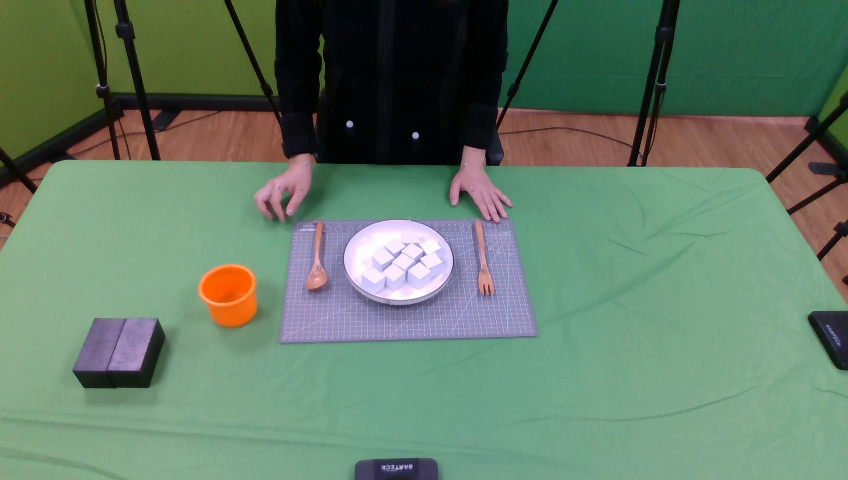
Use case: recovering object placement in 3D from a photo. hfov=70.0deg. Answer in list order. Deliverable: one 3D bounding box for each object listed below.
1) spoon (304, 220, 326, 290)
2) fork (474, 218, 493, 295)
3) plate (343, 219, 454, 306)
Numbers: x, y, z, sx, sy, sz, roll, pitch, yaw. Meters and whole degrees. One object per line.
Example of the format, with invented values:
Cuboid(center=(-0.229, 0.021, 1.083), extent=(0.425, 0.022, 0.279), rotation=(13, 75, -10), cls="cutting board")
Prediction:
Cuboid(center=(-0.205, 0.024, 1.154), extent=(0.041, 0.022, 0.192), rotation=(-14, 46, 8), cls="spoon")
Cuboid(center=(0.112, 0.029, 1.177), extent=(0.028, 0.019, 0.206), rotation=(-3, 48, 0), cls="fork")
Cuboid(center=(-0.047, 0.045, 1.136), extent=(0.208, 0.039, 0.206), rotation=(2, 46, -2), cls="plate")
